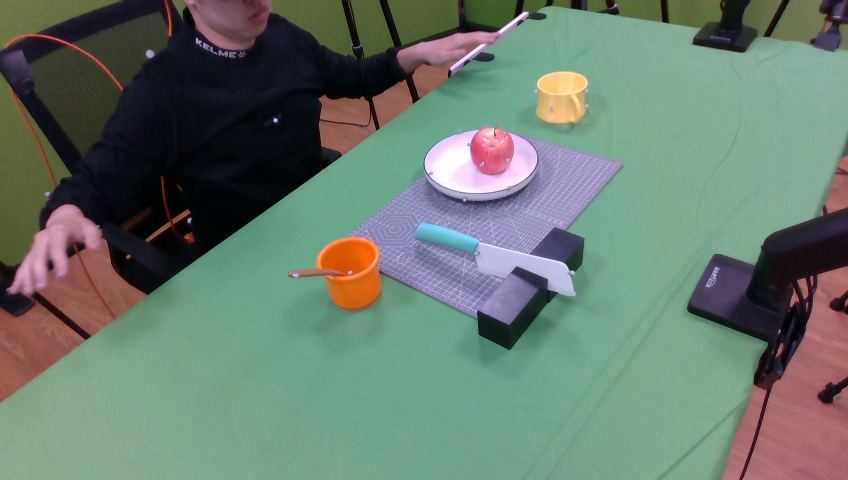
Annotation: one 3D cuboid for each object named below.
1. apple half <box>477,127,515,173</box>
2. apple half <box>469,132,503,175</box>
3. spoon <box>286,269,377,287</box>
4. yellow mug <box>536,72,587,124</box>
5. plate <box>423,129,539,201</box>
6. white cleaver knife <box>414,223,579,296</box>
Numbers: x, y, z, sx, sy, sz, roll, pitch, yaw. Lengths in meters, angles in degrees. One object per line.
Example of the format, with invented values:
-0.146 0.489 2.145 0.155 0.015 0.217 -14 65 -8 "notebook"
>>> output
0.132 -0.164 1.085 0.053 0.075 0.080 -28 41 -28 "apple half"
0.102 -0.146 1.067 0.033 0.081 0.080 -28 44 -29 "apple half"
-0.125 0.049 0.831 0.041 0.195 0.021 22 92 28 "spoon"
0.284 -0.281 1.222 0.100 0.064 0.130 -16 42 -10 "yellow mug"
0.103 -0.132 1.092 0.209 0.038 0.208 -4 40 4 "plate"
0.093 0.028 0.880 0.284 0.066 0.021 17 44 40 "white cleaver knife"
